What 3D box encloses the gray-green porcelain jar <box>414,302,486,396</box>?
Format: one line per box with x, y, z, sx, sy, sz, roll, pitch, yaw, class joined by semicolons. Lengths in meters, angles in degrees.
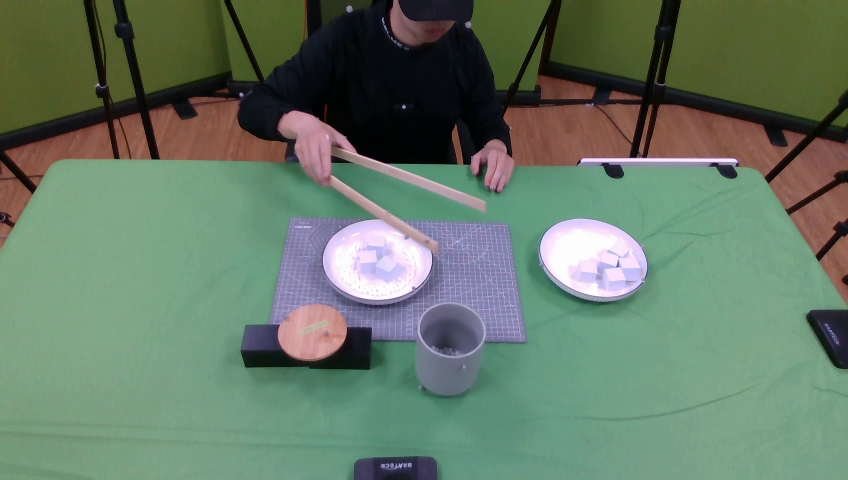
0.038;0.177;0.958;0.106;0.127;0.105;2;46;-2;gray-green porcelain jar

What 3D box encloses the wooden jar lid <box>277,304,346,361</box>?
-0.179;0.150;0.972;0.108;0.021;0.107;2;45;-2;wooden jar lid

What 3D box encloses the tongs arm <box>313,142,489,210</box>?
-0.051;-0.124;1.147;0.386;0.028;0.028;21;54;24;tongs arm

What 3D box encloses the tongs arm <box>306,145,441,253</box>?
-0.099;-0.083;1.107;0.383;0.027;0.050;31;55;31;tongs arm

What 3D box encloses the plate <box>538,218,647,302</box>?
0.322;0.042;1.171;0.208;0.039;0.206;2;46;-2;plate

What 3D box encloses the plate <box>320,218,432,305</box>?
-0.089;0.044;1.134;0.209;0.038;0.208;3;46;-2;plate
